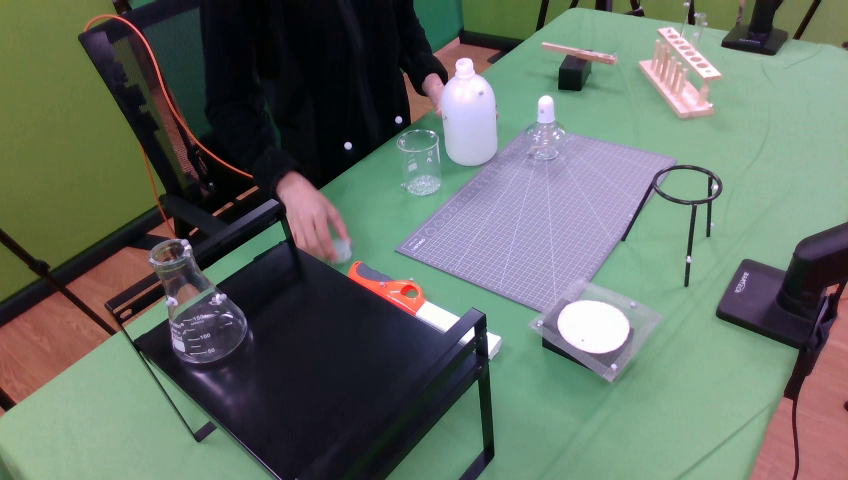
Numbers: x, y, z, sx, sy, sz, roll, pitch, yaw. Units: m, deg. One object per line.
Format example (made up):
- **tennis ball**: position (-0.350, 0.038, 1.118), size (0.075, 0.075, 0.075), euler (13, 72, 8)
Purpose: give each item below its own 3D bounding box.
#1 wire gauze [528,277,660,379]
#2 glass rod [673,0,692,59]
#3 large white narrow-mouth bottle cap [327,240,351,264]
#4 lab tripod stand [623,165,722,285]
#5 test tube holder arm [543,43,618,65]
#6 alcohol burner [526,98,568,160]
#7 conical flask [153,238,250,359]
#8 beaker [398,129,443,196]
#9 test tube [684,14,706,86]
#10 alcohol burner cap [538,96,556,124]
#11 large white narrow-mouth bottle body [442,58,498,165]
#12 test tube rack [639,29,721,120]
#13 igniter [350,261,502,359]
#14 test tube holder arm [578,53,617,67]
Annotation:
- **wire gauze**: position (0.213, 0.103, 0.763), size (0.124, 0.011, 0.122), euler (30, 52, 35)
- **glass rod**: position (0.537, -0.437, 1.257), size (0.008, 0.200, 0.008), euler (0, 39, 1)
- **large white narrow-mouth bottle cap**: position (-0.134, 0.019, 0.957), size (0.038, 0.024, 0.037), euler (-4, 41, 4)
- **lab tripod stand**: position (0.365, -0.030, 0.874), size (0.148, 0.132, 0.147), euler (-6, 41, 6)
- **test tube holder arm**: position (0.344, -0.413, 1.340), size (0.177, 0.015, 0.013), euler (25, 51, 31)
- **alcohol burner**: position (0.228, -0.210, 1.118), size (0.078, 0.119, 0.077), euler (-5, 43, 5)
- **conical flask**: position (-0.225, 0.055, 0.597), size (0.075, 0.122, 0.075), euler (-5, 41, 4)
- **beaker**: position (-0.002, -0.138, 1.087), size (0.073, 0.101, 0.084), euler (28, 51, 34)
- **test tube**: position (0.541, -0.378, 1.215), size (0.017, 0.151, 0.017), euler (-2, 44, 3)
- **alcohol burner cap**: position (0.222, -0.237, 1.095), size (0.034, 0.048, 0.033), euler (-7, 34, 5)
- **large white narrow-mouth bottle body**: position (0.084, -0.241, 1.115), size (0.102, 0.195, 0.101), euler (-4, 44, 4)
- **test tube rack**: position (0.527, -0.351, 1.262), size (0.067, 0.085, 0.241), euler (-8, 40, 1)
- **igniter**: position (-0.009, 0.094, 0.870), size (0.274, 0.025, 0.057), euler (25, 61, 33)
- **test tube holder arm**: position (0.376, -0.393, 1.314), size (0.087, 0.015, 0.010), euler (26, 51, 32)
